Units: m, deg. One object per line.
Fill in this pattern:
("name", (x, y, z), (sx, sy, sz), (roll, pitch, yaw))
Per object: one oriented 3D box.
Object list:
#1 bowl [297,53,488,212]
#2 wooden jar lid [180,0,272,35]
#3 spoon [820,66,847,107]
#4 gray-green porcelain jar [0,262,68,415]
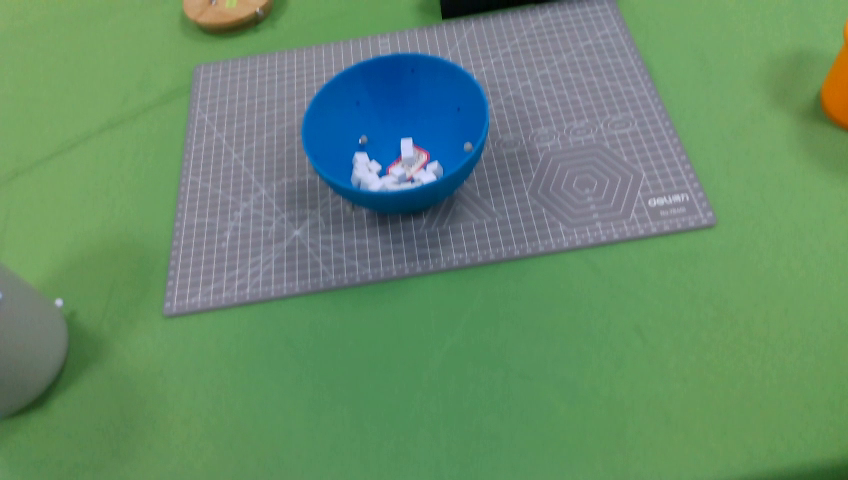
("bowl", (-0.021, -0.076, 0.506), (0.151, 0.077, 0.150), (-3, 57, 5))
("wooden jar lid", (-0.224, -0.274, 0.696), (0.108, 0.021, 0.107), (-2, 57, 4))
("spoon", (0.413, -0.162, 0.468), (0.022, 0.193, 0.041), (22, 52, -32))
("gray-green porcelain jar", (-0.333, 0.063, 0.430), (0.106, 0.128, 0.105), (-3, 57, 5))
